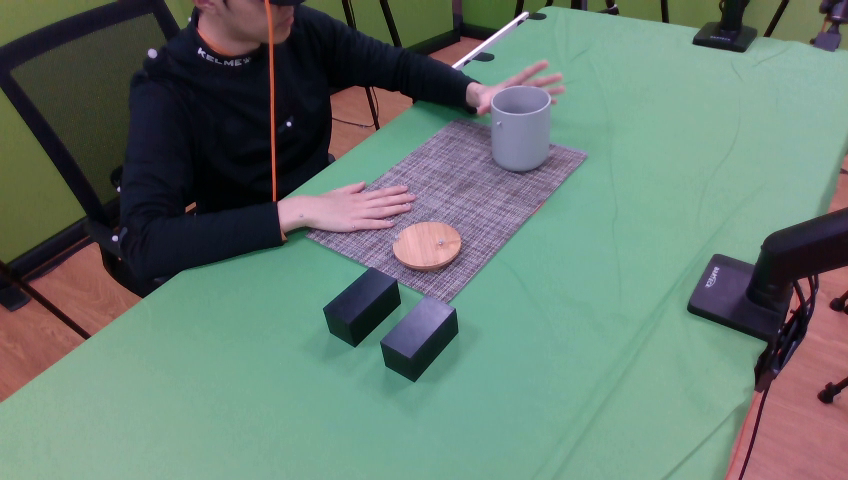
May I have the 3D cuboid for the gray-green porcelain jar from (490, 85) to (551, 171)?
[{"bbox_3d":[0.173,-0.197,1.087,0.106,0.127,0.105,-4,41,4],"label":"gray-green porcelain jar"}]

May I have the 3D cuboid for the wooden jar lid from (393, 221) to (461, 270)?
[{"bbox_3d":[0.005,0.010,0.952,0.108,0.021,0.108,-5,40,4],"label":"wooden jar lid"}]
